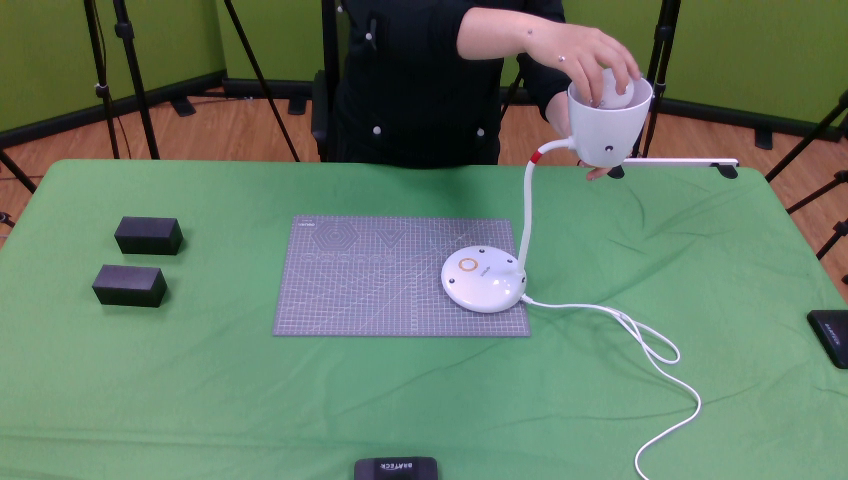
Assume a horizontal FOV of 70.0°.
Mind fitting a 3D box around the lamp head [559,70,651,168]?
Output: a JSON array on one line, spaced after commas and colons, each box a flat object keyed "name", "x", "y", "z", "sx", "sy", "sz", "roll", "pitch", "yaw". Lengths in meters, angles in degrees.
[{"name": "lamp head", "x": 0.252, "y": -0.163, "z": 0.859, "sx": 0.112, "sy": 0.123, "sz": 0.111, "roll": 0, "pitch": 43, "yaw": 0}]

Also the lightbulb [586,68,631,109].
[{"name": "lightbulb", "x": 0.252, "y": -0.186, "z": 0.844, "sx": 0.059, "sy": 0.108, "sz": 0.059, "roll": -1, "pitch": 41, "yaw": 1}]

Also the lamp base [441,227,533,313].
[{"name": "lamp base", "x": 0.126, "y": 0.022, "z": 1.071, "sx": 0.179, "sy": 0.181, "sz": 0.160, "roll": 23, "pitch": 49, "yaw": 14}]
